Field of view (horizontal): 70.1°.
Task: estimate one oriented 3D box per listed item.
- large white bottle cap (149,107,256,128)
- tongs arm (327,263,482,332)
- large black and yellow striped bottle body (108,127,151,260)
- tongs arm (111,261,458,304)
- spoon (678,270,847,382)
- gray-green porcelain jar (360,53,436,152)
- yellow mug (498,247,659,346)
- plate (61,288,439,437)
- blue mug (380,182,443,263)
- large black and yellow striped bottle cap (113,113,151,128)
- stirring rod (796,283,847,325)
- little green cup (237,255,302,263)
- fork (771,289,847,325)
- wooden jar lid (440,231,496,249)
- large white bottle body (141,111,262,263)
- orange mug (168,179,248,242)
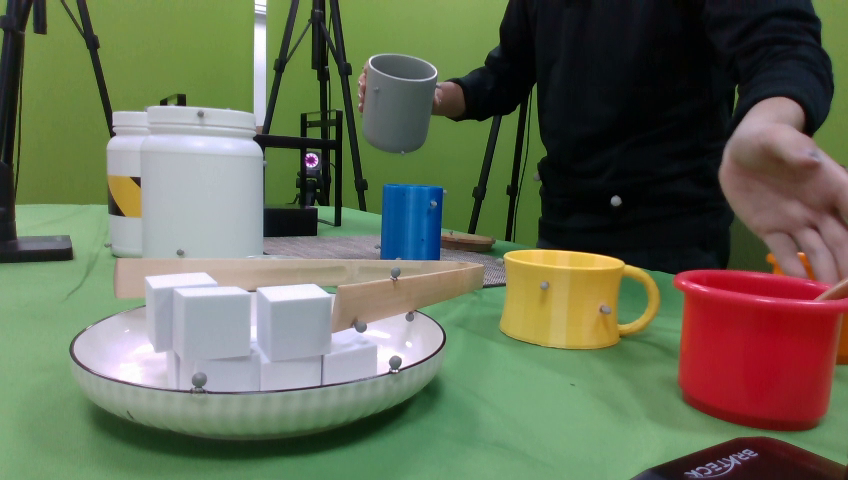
[{"bbox_3d":[-0.250,-0.137,0.686,0.115,0.018,0.115,2,8,0],"label":"large white bottle cap"},{"bbox_3d":[-0.003,0.036,0.493,0.050,0.026,0.386,1,0,19],"label":"tongs arm"},{"bbox_3d":[-0.350,-0.071,0.812,0.131,0.184,0.130,2,8,0],"label":"large black and yellow striped bottle body"},{"bbox_3d":[-0.080,0.032,0.527,0.028,0.027,0.389,-3,-3,33],"label":"tongs arm"},{"bbox_3d":[0.229,0.031,0.338,0.193,0.021,0.042,-44,-17,27],"label":"spoon"},{"bbox_3d":[-0.042,-0.207,0.930,0.106,0.126,0.105,8,35,-5],"label":"gray-green porcelain jar"},{"bbox_3d":[0.130,0.045,0.508,0.131,0.064,0.100,4,7,6],"label":"yellow mug"},{"bbox_3d":[-0.095,0.069,0.362,0.208,0.039,0.207,3,7,0],"label":"plate"},{"bbox_3d":[-0.020,-0.026,0.833,0.082,0.106,0.116,1,7,-7],"label":"blue mug"},{"bbox_3d":[-0.348,-0.154,0.800,0.115,0.019,0.115,2,6,0],"label":"large black and yellow striped bottle cap"},{"bbox_3d":[0.347,0.019,0.460,0.014,0.176,0.006,-16,59,-25],"label":"stirring rod"},{"bbox_3d":[-0.150,0.038,0.590,0.061,0.038,0.061,3,7,0],"label":"little green cup"},{"bbox_3d":[0.336,0.018,0.443,0.028,0.018,0.207,-1,-36,-20],"label":"fork"},{"bbox_3d":[0.066,0.000,1.011,0.108,0.020,0.108,6,7,0],"label":"wooden jar lid"},{"bbox_3d":[-0.254,-0.053,0.697,0.131,0.184,0.130,2,7,0],"label":"large white bottle body"},{"bbox_3d":[-0.351,-0.051,0.986,0.126,0.101,0.083,-4,9,-9],"label":"orange mug"}]
